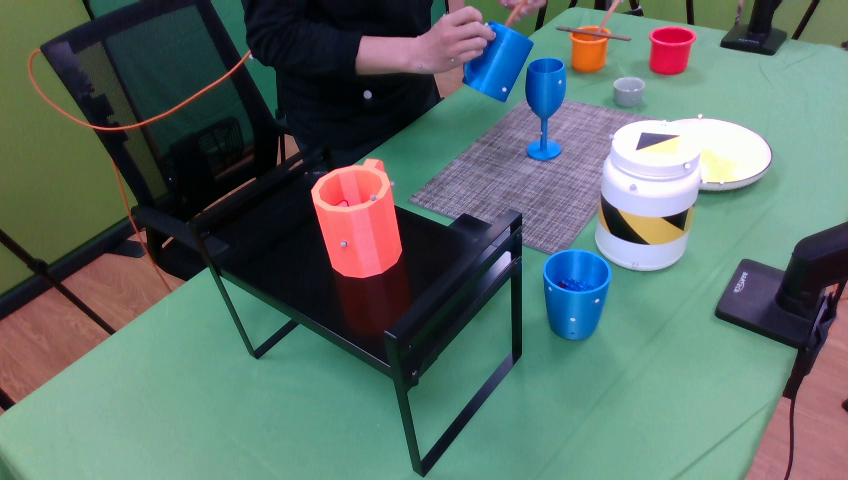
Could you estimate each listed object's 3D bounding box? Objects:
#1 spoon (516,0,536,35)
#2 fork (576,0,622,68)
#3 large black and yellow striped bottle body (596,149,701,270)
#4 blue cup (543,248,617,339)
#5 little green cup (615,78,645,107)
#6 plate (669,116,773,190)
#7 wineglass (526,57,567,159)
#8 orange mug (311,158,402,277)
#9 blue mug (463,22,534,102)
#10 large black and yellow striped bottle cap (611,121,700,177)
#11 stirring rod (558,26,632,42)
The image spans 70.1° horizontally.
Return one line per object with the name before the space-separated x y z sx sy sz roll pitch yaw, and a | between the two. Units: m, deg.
spoon | 0.161 -0.347 0.995 0.021 0.194 0.041 19 33 2
fork | 0.409 -0.484 1.381 0.028 0.019 0.207 37 101 45
large black and yellow striped bottle body | 0.323 -0.062 0.877 0.131 0.185 0.130 -4 40 4
blue cup | 0.199 0.076 0.797 0.092 0.100 0.092 -4 39 4
little green cup | 0.426 -0.306 1.257 0.061 0.039 0.061 -4 40 4
plate | 0.495 -0.149 1.063 0.209 0.038 0.208 -5 40 5
wineglass | 0.221 -0.237 1.097 0.074 0.173 0.073 -4 41 4
orange mug | -0.070 -0.034 0.694 0.083 0.101 0.126 5 46 16
blue mug | 0.111 -0.296 0.994 0.117 0.106 0.081 7 25 -45
large black and yellow striped bottle cap | 0.315 -0.126 0.823 0.115 0.019 0.114 -4 42 4
stirring rod | 0.381 -0.462 1.356 0.175 0.006 0.014 23 48 30
